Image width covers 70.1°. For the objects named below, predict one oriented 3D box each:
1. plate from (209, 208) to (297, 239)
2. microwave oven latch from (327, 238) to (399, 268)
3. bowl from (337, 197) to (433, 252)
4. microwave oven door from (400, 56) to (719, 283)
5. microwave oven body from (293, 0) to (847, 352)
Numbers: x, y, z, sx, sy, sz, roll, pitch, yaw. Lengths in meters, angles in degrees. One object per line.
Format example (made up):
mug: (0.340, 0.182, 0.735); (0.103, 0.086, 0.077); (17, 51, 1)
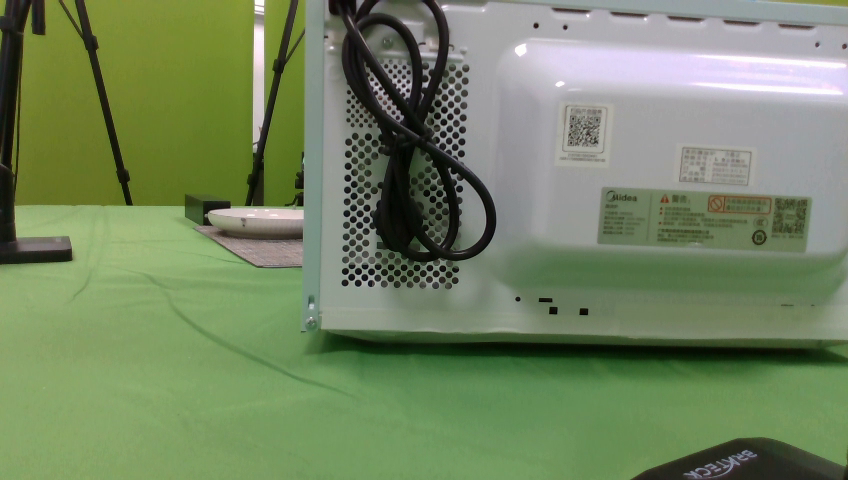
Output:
plate: (-0.271, -0.029, 1.074); (0.208, 0.039, 0.207); (3, 7, 0)
microwave oven latch: (-0.069, 0.015, 0.694); (0.079, 0.029, 0.030); (3, 7, -3)
bowl: (-0.062, -0.025, 0.955); (0.151, 0.077, 0.151); (2, 8, 0)
microwave oven door: (0.155, -0.077, 0.698); (0.356, 0.243, 0.039); (2, 8, -5)
microwave oven body: (0.122, -0.055, 0.550); (0.442, 0.260, 0.325); (3, 7, -5)
